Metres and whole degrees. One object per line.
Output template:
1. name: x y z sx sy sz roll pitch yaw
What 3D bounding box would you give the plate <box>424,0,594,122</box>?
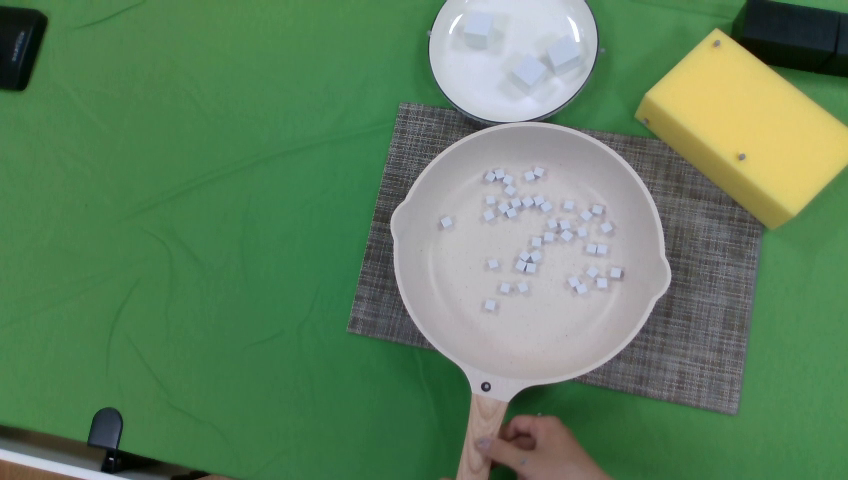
1. plate: 0.105 -0.241 0.758 0.207 0.039 0.206 -1 79 7

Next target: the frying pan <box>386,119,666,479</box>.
1. frying pan: 0.081 0.107 0.656 0.306 0.103 0.485 13 73 10

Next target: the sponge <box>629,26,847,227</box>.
1. sponge: 0.358 -0.130 0.691 0.118 0.061 0.206 -44 76 -5
